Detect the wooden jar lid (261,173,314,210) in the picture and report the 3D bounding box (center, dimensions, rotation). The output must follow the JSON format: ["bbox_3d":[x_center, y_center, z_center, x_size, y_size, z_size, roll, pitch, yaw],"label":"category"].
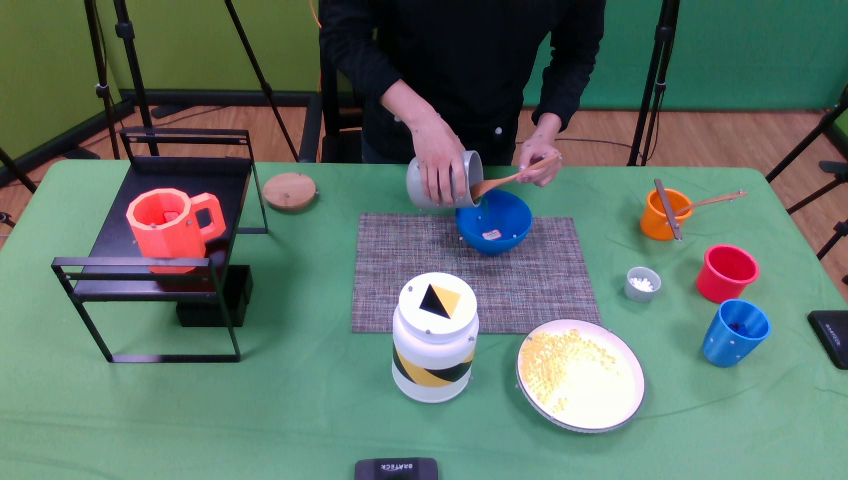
[{"bbox_3d":[-0.286,-0.101,1.273,0.108,0.021,0.107,3,45,-3],"label":"wooden jar lid"}]

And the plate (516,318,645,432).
[{"bbox_3d":[0.253,0.221,0.992,0.209,0.038,0.208,2,46,-2],"label":"plate"}]

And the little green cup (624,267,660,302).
[{"bbox_3d":[0.406,0.084,1.135,0.061,0.039,0.061,3,45,-3],"label":"little green cup"}]

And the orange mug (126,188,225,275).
[{"bbox_3d":[-0.357,-0.019,0.884,0.126,0.101,0.083,-29,54,-23],"label":"orange mug"}]

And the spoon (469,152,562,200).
[{"bbox_3d":[0.161,-0.118,1.110,0.193,0.022,0.041,-21,40,16],"label":"spoon"}]

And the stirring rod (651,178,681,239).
[{"bbox_3d":[0.480,-0.065,1.204,0.014,0.006,0.175,3,46,-3],"label":"stirring rod"}]

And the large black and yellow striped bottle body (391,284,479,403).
[{"bbox_3d":[0.015,0.153,0.938,0.131,0.185,0.130,2,46,-2],"label":"large black and yellow striped bottle body"}]

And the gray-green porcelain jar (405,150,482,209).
[{"bbox_3d":[0.035,-0.112,1.130,0.126,0.106,0.105,-1,43,20],"label":"gray-green porcelain jar"}]

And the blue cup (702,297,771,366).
[{"bbox_3d":[0.519,0.162,1.025,0.093,0.101,0.092,3,45,-3],"label":"blue cup"}]

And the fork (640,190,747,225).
[{"bbox_3d":[0.533,-0.065,1.211,0.207,0.019,0.028,-22,28,39],"label":"fork"}]

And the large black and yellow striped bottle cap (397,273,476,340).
[{"bbox_3d":[0.018,0.094,0.878,0.115,0.019,0.114,3,46,-3],"label":"large black and yellow striped bottle cap"}]

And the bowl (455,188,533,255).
[{"bbox_3d":[0.131,-0.025,1.186,0.151,0.077,0.150,2,46,-2],"label":"bowl"}]
